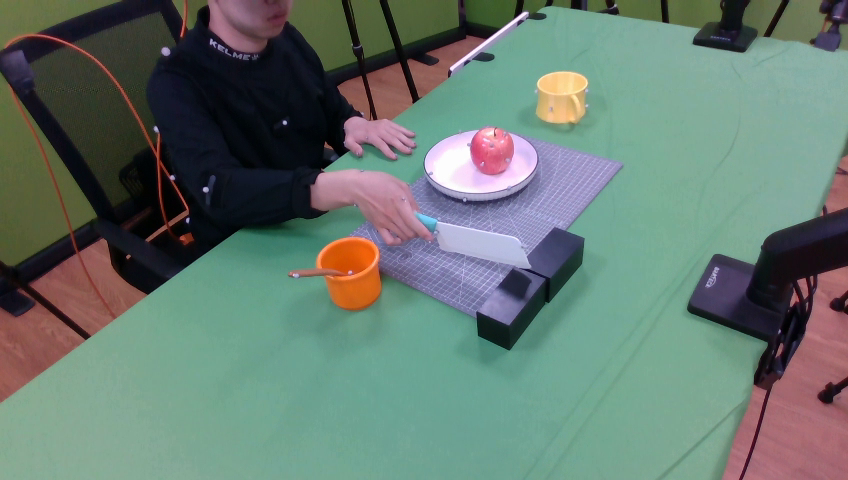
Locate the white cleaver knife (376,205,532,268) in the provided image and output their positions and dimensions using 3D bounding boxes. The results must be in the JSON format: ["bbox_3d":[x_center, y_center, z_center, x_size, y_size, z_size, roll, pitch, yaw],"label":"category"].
[{"bbox_3d":[0.033,-0.004,0.894,0.284,0.066,0.021,16,50,41],"label":"white cleaver knife"}]

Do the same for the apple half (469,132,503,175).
[{"bbox_3d":[0.102,-0.146,1.067,0.033,0.081,0.080,-29,44,-29],"label":"apple half"}]

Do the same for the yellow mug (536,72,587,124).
[{"bbox_3d":[0.284,-0.281,1.222,0.100,0.064,0.130,-15,42,-10],"label":"yellow mug"}]

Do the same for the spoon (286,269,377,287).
[{"bbox_3d":[-0.125,0.049,0.831,0.041,0.195,0.021,22,92,28],"label":"spoon"}]

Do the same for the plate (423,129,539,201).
[{"bbox_3d":[0.103,-0.132,1.092,0.209,0.038,0.208,-4,40,4],"label":"plate"}]

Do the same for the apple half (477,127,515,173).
[{"bbox_3d":[0.132,-0.164,1.085,0.053,0.075,0.080,-28,41,-28],"label":"apple half"}]
